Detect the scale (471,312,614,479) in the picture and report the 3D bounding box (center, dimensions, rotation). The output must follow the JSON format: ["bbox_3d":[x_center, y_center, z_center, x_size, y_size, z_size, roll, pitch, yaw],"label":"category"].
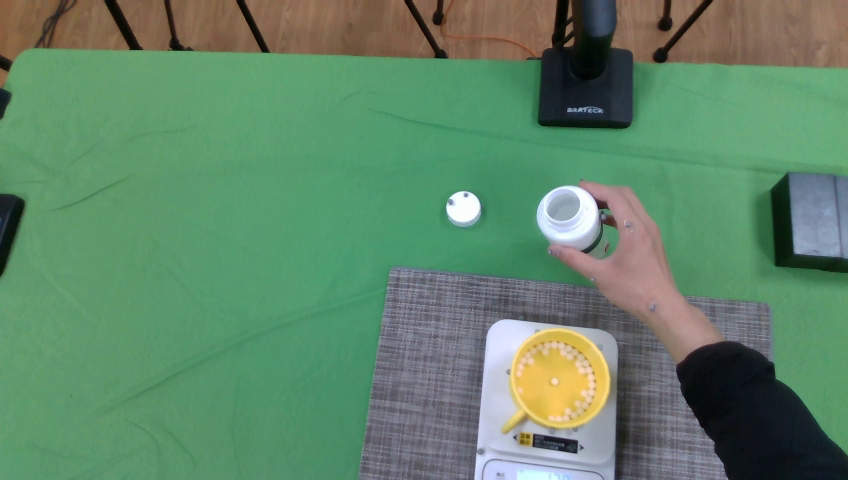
[{"bbox_3d":[0.134,0.185,0.679,0.148,0.032,0.200,5,74,8],"label":"scale"}]

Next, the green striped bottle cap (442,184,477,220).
[{"bbox_3d":[0.046,-0.048,0.775,0.044,0.020,0.044,-1,77,6],"label":"green striped bottle cap"}]

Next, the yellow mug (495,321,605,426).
[{"bbox_3d":[0.124,0.150,0.641,0.131,0.064,0.099,-43,74,-6],"label":"yellow mug"}]

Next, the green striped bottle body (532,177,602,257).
[{"bbox_3d":[0.154,-0.026,0.654,0.063,0.120,0.063,-7,72,21],"label":"green striped bottle body"}]
